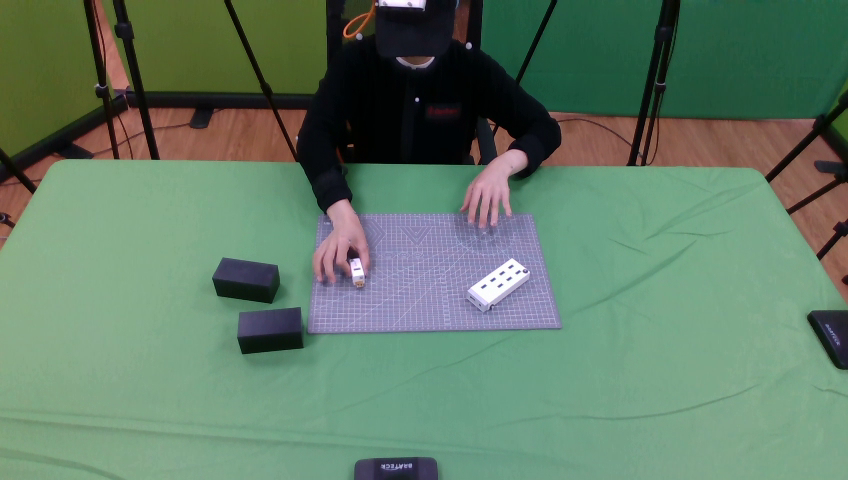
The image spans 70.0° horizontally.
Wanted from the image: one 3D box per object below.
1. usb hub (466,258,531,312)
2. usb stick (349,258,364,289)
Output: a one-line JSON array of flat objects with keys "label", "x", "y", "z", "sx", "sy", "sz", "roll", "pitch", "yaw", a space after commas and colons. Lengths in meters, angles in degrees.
[{"label": "usb hub", "x": 0.139, "y": 0.083, "z": 1.121, "sx": 0.125, "sy": 0.025, "sz": 0.049, "roll": -32, "pitch": 56, "yaw": -29}, {"label": "usb stick", "x": -0.123, "y": 0.064, "z": 1.120, "sx": 0.021, "sy": 0.027, "sz": 0.059, "roll": -9, "pitch": 52, "yaw": -11}]
